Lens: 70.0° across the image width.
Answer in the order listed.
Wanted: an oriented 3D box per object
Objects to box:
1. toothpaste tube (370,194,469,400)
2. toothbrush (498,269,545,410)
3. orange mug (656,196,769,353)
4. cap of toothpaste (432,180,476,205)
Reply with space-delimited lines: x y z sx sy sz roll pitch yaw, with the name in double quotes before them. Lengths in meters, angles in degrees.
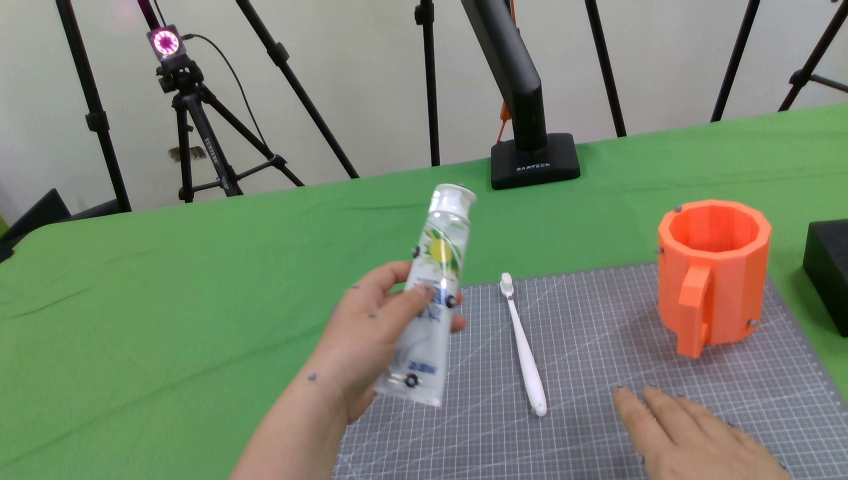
"toothpaste tube" 0.003 0.035 0.467 0.055 0.035 0.164 9 71 17
"toothbrush" 0.091 0.087 0.576 0.014 0.017 0.180 0 35 -5
"orange mug" 0.241 0.033 0.523 0.083 0.102 0.126 11 37 33
"cap of toothpaste" 0.024 -0.037 0.490 0.037 0.038 0.011 4 69 26
